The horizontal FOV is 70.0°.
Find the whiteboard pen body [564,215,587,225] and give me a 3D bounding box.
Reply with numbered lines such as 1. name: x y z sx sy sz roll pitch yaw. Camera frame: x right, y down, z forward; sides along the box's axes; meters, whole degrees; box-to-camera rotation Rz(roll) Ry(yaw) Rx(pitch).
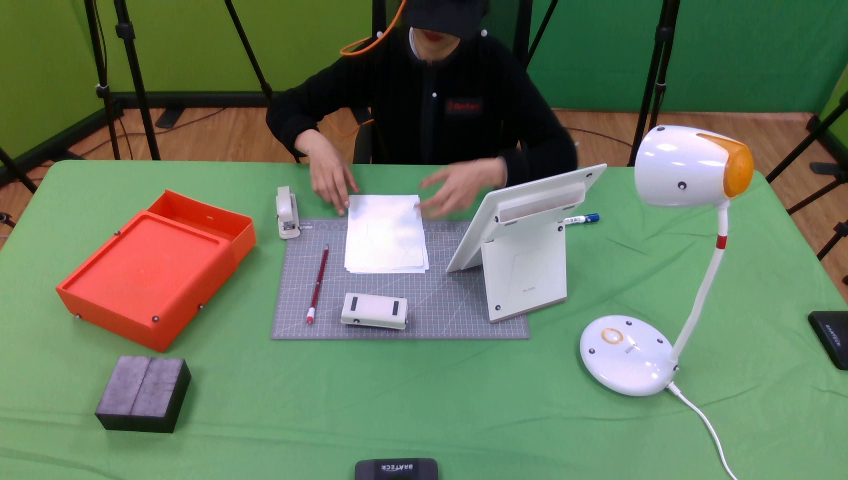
1. whiteboard pen body: 0.291 -0.040 1.261 0.141 0.017 0.017 -6 47 -11

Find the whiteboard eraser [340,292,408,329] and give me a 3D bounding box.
1. whiteboard eraser: -0.087 0.125 1.052 0.113 0.042 0.055 5 45 1

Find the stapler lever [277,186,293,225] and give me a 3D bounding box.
1. stapler lever: -0.279 -0.076 1.210 0.027 0.040 0.117 -8 44 -11

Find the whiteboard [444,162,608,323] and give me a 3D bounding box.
1. whiteboard: 0.186 0.026 1.028 0.217 0.306 0.143 -14 68 -18

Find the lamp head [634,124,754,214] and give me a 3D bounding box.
1. lamp head: 0.351 -0.089 0.775 0.112 0.113 0.122 -30 30 -28

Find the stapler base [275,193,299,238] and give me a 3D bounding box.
1. stapler base: -0.279 -0.056 1.227 0.041 0.024 0.129 -8 44 -11

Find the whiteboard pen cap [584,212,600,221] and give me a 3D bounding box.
1. whiteboard pen cap: 0.351 -0.049 1.271 0.033 0.018 0.018 -6 47 -11

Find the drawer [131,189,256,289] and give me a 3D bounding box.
1. drawer: -0.449 0.018 1.105 0.194 0.073 0.211 19 48 12

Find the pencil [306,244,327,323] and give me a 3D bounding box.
1. pencil: -0.196 0.076 1.115 0.012 0.012 0.193 4 44 0

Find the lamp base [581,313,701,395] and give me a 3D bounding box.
1. lamp base: 0.361 0.144 0.972 0.178 0.181 0.160 34 53 23

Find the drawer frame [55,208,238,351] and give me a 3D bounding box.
1. drawer frame: -0.474 0.062 1.059 0.201 0.083 0.213 19 48 13
